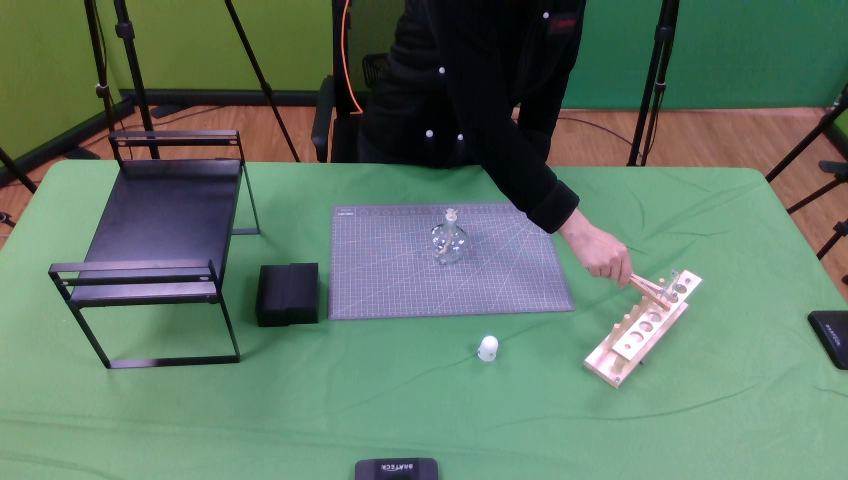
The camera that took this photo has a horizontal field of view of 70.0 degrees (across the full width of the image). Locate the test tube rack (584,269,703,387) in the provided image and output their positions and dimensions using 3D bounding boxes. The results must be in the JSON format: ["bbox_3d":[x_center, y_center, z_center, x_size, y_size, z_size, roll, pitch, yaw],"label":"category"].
[{"bbox_3d":[0.380,0.139,1.046,0.066,0.085,0.242,36,54,28],"label":"test tube rack"}]

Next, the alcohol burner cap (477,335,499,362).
[{"bbox_3d":[0.109,0.180,1.017,0.034,0.048,0.033,4,50,-4],"label":"alcohol burner cap"}]

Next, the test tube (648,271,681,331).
[{"bbox_3d":[0.399,0.105,1.010,0.017,0.151,0.017,-1,46,1],"label":"test tube"}]

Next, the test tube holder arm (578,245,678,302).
[{"bbox_3d":[0.343,0.055,1.027,0.178,0.015,0.013,31,60,17],"label":"test tube holder arm"}]

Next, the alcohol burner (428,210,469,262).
[{"bbox_3d":[0.048,-0.014,1.146,0.078,0.119,0.077,3,48,-3],"label":"alcohol burner"}]

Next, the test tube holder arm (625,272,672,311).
[{"bbox_3d":[0.373,0.083,1.010,0.010,0.015,0.087,-35,64,-21],"label":"test tube holder arm"}]
